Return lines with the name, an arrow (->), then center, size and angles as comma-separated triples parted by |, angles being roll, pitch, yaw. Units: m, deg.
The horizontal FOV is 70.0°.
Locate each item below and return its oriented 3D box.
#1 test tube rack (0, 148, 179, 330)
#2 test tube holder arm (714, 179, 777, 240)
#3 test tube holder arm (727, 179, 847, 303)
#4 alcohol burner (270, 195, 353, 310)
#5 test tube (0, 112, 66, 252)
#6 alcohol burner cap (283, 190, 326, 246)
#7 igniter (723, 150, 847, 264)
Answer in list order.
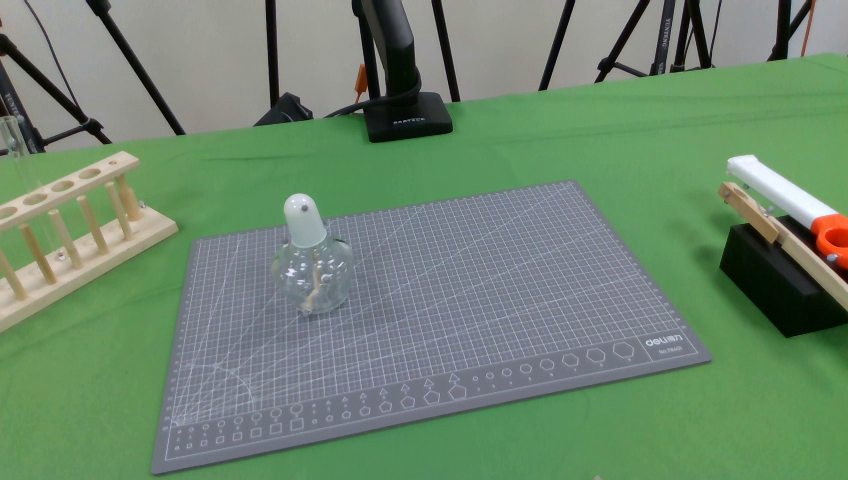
test tube rack -> -0.383, 0.002, 0.612 | 0.066, 0.086, 0.242 | 24, 46, 31
test tube holder arm -> 0.302, -0.030, 0.567 | 0.010, 0.015, 0.087 | -5, 37, -12
test tube holder arm -> 0.318, -0.004, 0.534 | 0.013, 0.015, 0.176 | -5, 37, -13
alcohol burner -> -0.105, 0.006, 0.555 | 0.078, 0.120, 0.077 | -1, 39, 1
test tube -> -0.388, -0.053, 0.602 | 0.017, 0.151, 0.017 | -2, 31, 1
alcohol burner cap -> -0.107, -0.022, 0.533 | 0.034, 0.048, 0.033 | -4, 40, 4
igniter -> 0.361, -0.014, 0.537 | 0.057, 0.025, 0.273 | -11, 35, -7
